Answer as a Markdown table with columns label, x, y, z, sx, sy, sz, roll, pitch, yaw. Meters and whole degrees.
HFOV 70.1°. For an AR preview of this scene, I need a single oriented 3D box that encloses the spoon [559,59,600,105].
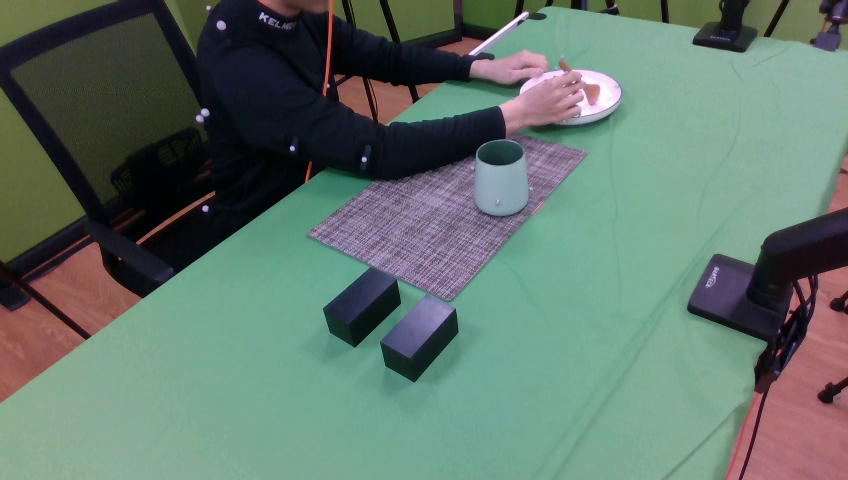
| label | x | y | z | sx | sy | sz | roll | pitch | yaw |
| --- | --- | --- | --- | --- | --- | --- | --- | --- | --- |
| spoon | 0.301 | -0.308 | 1.176 | 0.021 | 0.041 | 0.195 | 35 | 12 | 38 |

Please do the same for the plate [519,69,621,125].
| label | x | y | z | sx | sy | sz | roll | pitch | yaw |
| --- | --- | --- | --- | --- | --- | --- | --- | --- | --- |
| plate | 0.300 | -0.293 | 1.253 | 0.209 | 0.038 | 0.208 | -4 | 41 | 4 |

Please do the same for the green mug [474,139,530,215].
| label | x | y | z | sx | sy | sz | roll | pitch | yaw |
| --- | --- | --- | --- | --- | --- | --- | --- | --- | --- |
| green mug | 0.126 | -0.113 | 1.013 | 0.092 | 0.105 | 0.124 | -8 | 41 | 0 |
